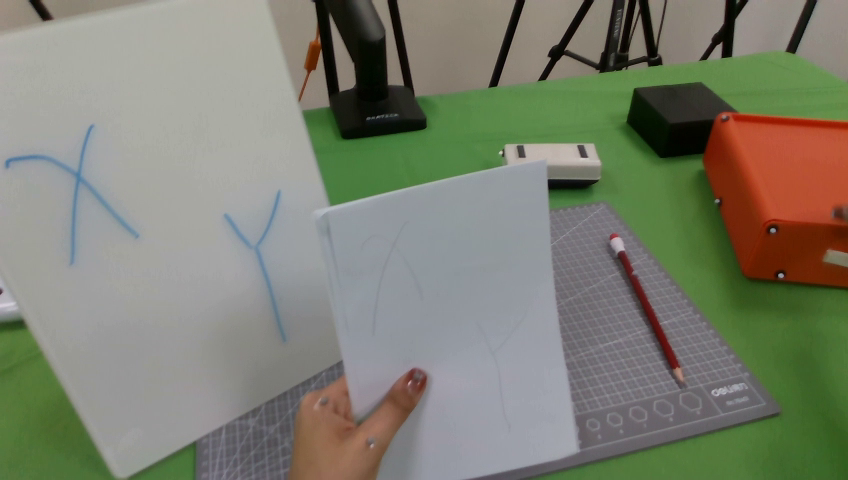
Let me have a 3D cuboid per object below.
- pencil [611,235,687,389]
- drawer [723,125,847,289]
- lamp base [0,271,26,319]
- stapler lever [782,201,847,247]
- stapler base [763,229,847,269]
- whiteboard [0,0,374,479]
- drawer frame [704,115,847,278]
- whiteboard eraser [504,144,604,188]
[{"bbox_3d":[0.209,0.060,0.569,0.012,0.012,0.192,-3,41,-3],"label":"pencil"},{"bbox_3d":[0.427,-0.040,0.641,0.194,0.074,0.210,5,39,7],"label":"drawer"},{"bbox_3d":[-0.398,-0.044,0.558,0.178,0.182,0.160,16,42,22],"label":"lamp base"},{"bbox_3d":[0.416,-0.011,0.593,0.118,0.040,0.026,8,43,12],"label":"stapler lever"},{"bbox_3d":[0.415,0.006,0.608,0.130,0.024,0.041,10,44,10],"label":"stapler base"},{"bbox_3d":[-0.198,-0.016,0.474,0.217,0.307,0.142,-25,27,-26],"label":"whiteboard"},{"bbox_3d":[0.428,-0.044,0.644,0.201,0.083,0.212,5,39,6],"label":"drawer frame"},{"bbox_3d":[0.155,-0.089,0.728,0.113,0.042,0.055,1,41,0],"label":"whiteboard eraser"}]
